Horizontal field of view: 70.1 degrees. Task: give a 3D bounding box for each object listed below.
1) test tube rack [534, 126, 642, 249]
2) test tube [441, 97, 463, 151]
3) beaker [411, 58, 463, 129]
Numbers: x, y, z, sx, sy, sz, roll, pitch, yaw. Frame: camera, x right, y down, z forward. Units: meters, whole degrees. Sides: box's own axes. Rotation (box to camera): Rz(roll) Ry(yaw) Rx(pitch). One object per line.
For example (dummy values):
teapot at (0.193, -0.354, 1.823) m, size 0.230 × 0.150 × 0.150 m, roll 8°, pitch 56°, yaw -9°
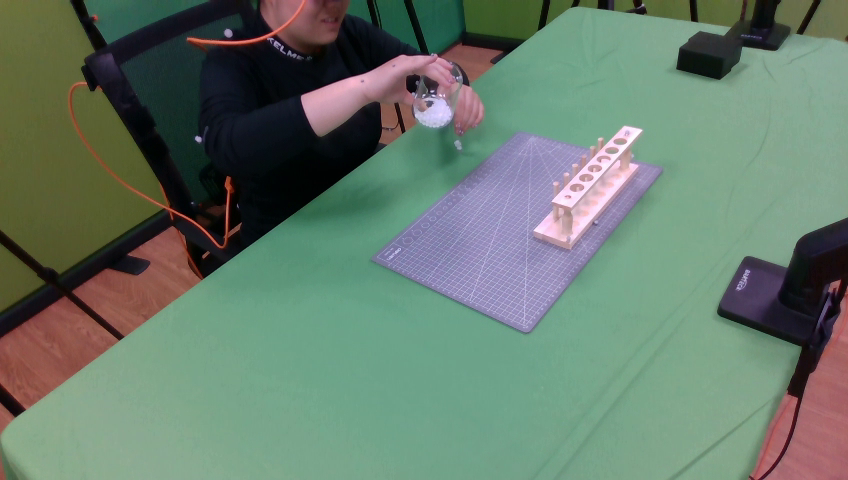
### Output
test tube rack at (0.271, -0.095, 0.990) m, size 0.066 × 0.085 × 0.243 m, roll 23°, pitch 49°, yaw 33°
test tube at (0.053, -0.210, 1.114) m, size 0.017 × 0.151 × 0.017 m, roll -6°, pitch 62°, yaw 11°
beaker at (0.021, -0.235, 0.993) m, size 0.074 × 0.084 × 0.100 m, roll 0°, pitch 47°, yaw 16°
